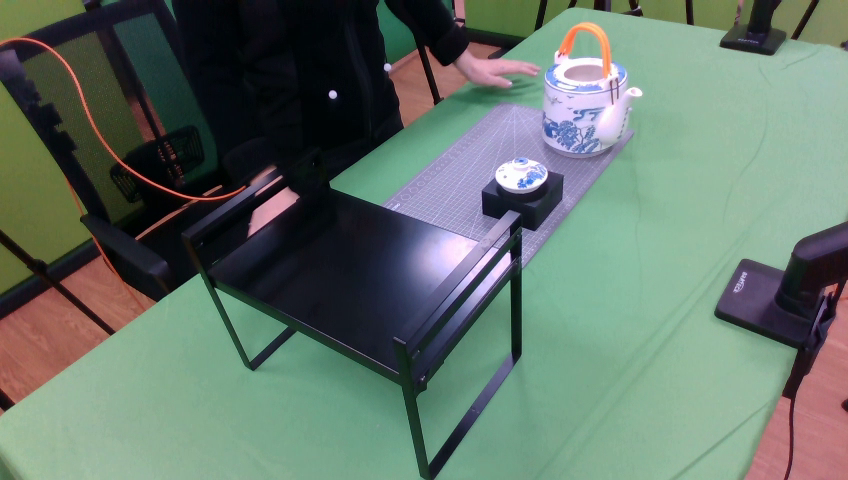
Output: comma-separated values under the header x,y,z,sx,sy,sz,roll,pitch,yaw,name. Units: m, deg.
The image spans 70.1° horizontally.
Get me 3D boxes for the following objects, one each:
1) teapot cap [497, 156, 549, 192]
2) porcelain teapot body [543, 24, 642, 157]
x,y,z,sx,sy,sz,roll,pitch,yaw,name
0.161,-0.113,0.986,0.085,0.044,0.085,-2,43,3,teapot cap
0.305,-0.258,1.070,0.146,0.226,0.203,-26,44,-20,porcelain teapot body
